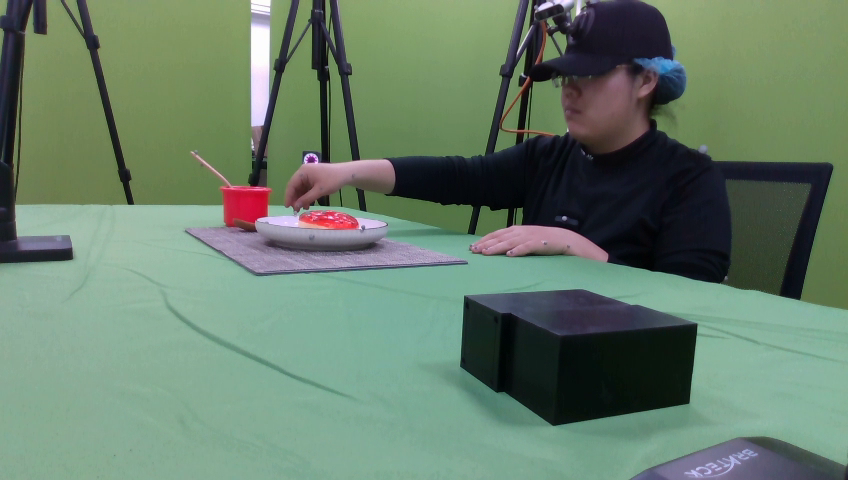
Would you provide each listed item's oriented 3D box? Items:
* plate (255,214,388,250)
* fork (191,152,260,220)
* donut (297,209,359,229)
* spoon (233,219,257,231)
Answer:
[{"bbox_3d":[-0.161,-0.013,0.961,0.209,0.038,0.209,2,7,0],"label":"plate"},{"bbox_3d":[-0.386,-0.103,1.191,0.207,0.018,0.028,46,15,5],"label":"fork"},{"bbox_3d":[-0.151,-0.023,0.955,0.099,0.048,0.099,5,7,0],"label":"donut"},{"bbox_3d":[-0.250,-0.028,1.108,0.195,0.021,0.041,-2,-9,-29],"label":"spoon"}]
